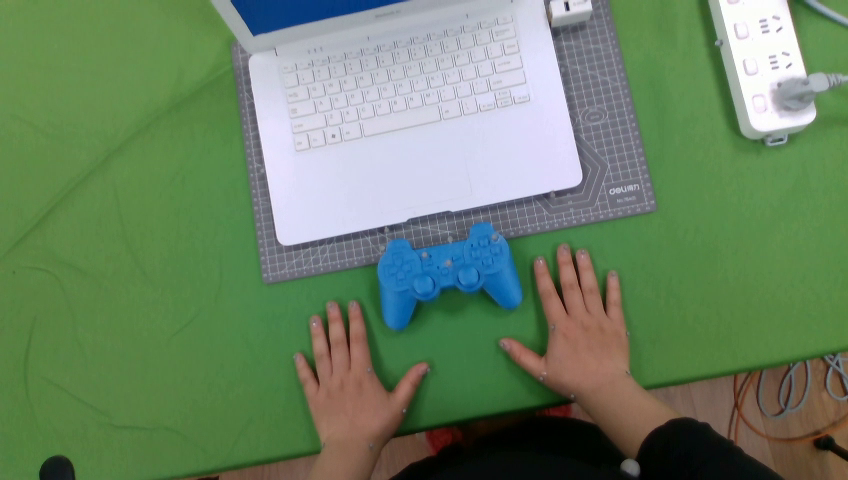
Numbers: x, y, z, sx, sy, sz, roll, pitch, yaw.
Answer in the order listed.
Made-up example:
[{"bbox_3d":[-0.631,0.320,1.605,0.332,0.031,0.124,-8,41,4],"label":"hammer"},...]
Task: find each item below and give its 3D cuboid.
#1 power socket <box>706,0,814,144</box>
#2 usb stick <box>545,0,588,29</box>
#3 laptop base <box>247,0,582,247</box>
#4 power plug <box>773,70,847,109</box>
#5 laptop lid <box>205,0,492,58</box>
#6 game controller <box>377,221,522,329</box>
[{"bbox_3d":[0.364,-0.219,0.666,0.072,0.033,0.226,-10,81,5],"label":"power socket"},{"bbox_3d":[0.154,-0.257,0.687,0.059,0.027,0.021,-12,81,8],"label":"usb stick"},{"bbox_3d":[-0.017,-0.139,0.699,0.354,0.023,0.235,-12,84,4],"label":"laptop base"},{"bbox_3d":[0.404,-0.154,0.633,0.072,0.053,0.035,2,81,2],"label":"power plug"},{"bbox_3d":[-0.056,-0.288,0.605,0.356,0.243,0.013,-13,72,5],"label":"laptop lid"},{"bbox_3d":[0.024,0.036,0.655,0.155,0.052,0.096,-11,78,3],"label":"game controller"}]
